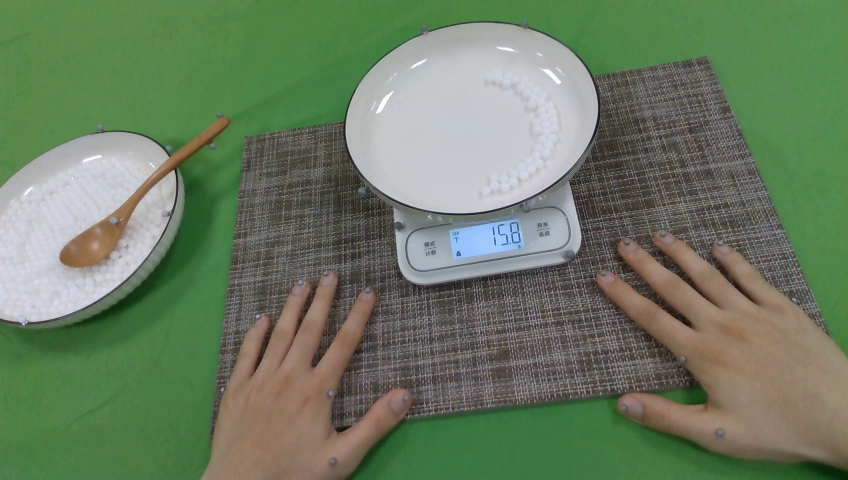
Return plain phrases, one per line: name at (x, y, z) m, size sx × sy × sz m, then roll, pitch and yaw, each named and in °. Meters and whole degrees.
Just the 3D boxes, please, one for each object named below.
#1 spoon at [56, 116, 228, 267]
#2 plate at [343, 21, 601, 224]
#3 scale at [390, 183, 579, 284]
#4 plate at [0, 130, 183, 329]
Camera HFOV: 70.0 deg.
spoon at (-0.251, -0.047, 0.550) m, size 0.041 × 0.022 × 0.193 m, roll 39°, pitch 80°, yaw 27°
plate at (0.038, -0.098, 0.504) m, size 0.207 × 0.039 × 0.205 m, roll -4°, pitch 59°, yaw 8°
scale at (0.042, -0.063, 0.521) m, size 0.148 × 0.032 × 0.199 m, roll -9°, pitch 59°, yaw 6°
plate at (-0.319, -0.011, 0.561) m, size 0.209 × 0.038 × 0.207 m, roll -4°, pitch 59°, yaw 8°
